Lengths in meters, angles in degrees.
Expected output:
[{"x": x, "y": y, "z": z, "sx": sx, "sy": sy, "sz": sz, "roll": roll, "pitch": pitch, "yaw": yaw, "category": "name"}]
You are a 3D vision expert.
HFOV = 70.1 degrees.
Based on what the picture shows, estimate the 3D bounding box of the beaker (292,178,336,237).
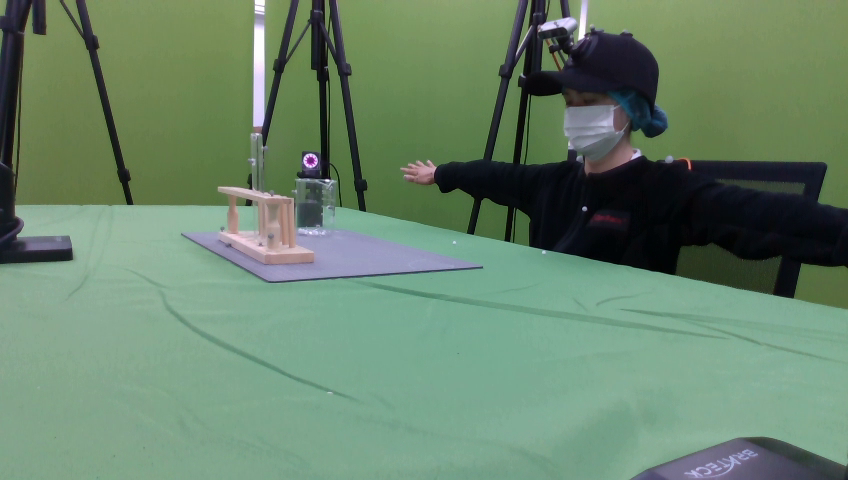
[{"x": -0.195, "y": -0.058, "z": 1.080, "sx": 0.074, "sy": 0.100, "sz": 0.083, "roll": -4, "pitch": 11, "yaw": -40, "category": "beaker"}]

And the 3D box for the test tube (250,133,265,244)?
[{"x": -0.227, "y": -0.070, "z": 0.825, "sx": 0.017, "sy": 0.150, "sz": 0.017, "roll": -1, "pitch": 3, "yaw": 0, "category": "test tube"}]

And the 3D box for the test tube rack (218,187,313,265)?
[{"x": -0.235, "y": -0.027, "z": 0.872, "sx": 0.067, "sy": 0.085, "sz": 0.241, "roll": -2, "pitch": 8, "yaw": -32, "category": "test tube rack"}]
